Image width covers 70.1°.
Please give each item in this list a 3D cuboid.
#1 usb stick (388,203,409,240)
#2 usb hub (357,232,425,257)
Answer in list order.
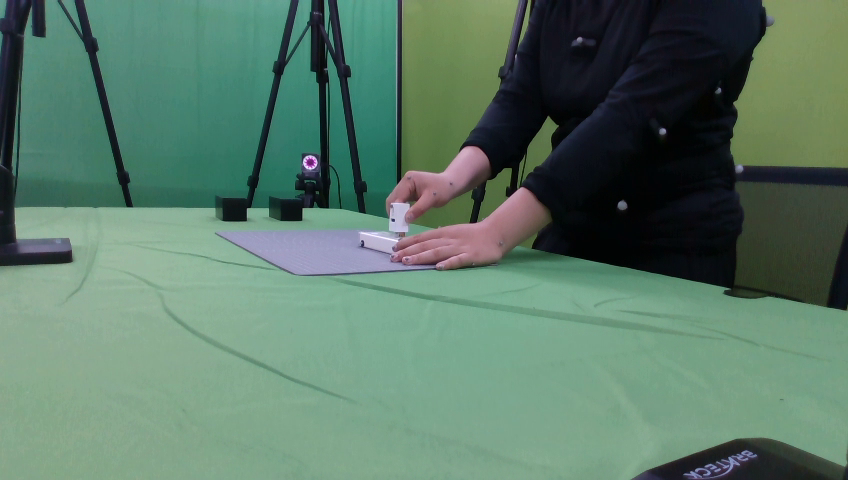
[{"bbox_3d":[-0.040,-0.028,0.932,0.027,0.059,0.021,-7,15,-40],"label":"usb stick"},{"bbox_3d":[-0.054,0.005,0.947,0.050,0.025,0.124,-3,9,-36],"label":"usb hub"}]
